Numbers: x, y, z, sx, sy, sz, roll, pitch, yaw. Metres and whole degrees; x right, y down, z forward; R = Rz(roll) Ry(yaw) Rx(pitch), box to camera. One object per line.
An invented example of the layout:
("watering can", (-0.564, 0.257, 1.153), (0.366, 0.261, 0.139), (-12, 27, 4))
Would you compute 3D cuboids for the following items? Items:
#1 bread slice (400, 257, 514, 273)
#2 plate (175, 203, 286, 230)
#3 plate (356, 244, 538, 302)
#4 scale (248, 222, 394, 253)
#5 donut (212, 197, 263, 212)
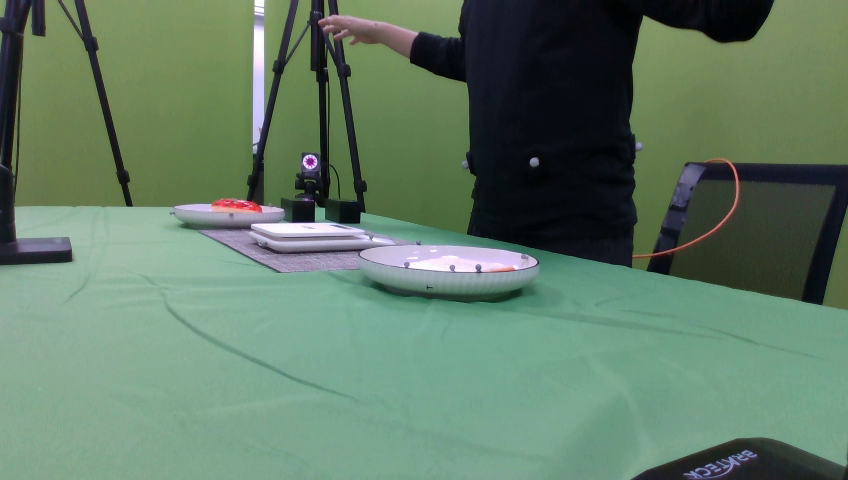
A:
("bread slice", (0.029, 0.038, 0.689), (0.104, 0.019, 0.132), (8, 10, 37))
("plate", (-0.380, -0.047, 1.199), (0.208, 0.039, 0.207), (2, 7, 0))
("plate", (0.025, 0.036, 0.693), (0.209, 0.038, 0.209), (3, 7, 0))
("scale", (-0.162, -0.006, 0.954), (0.202, 0.031, 0.148), (-1, 9, -32))
("donut", (-0.376, -0.061, 1.220), (0.099, 0.048, 0.099), (5, 4, 0))
